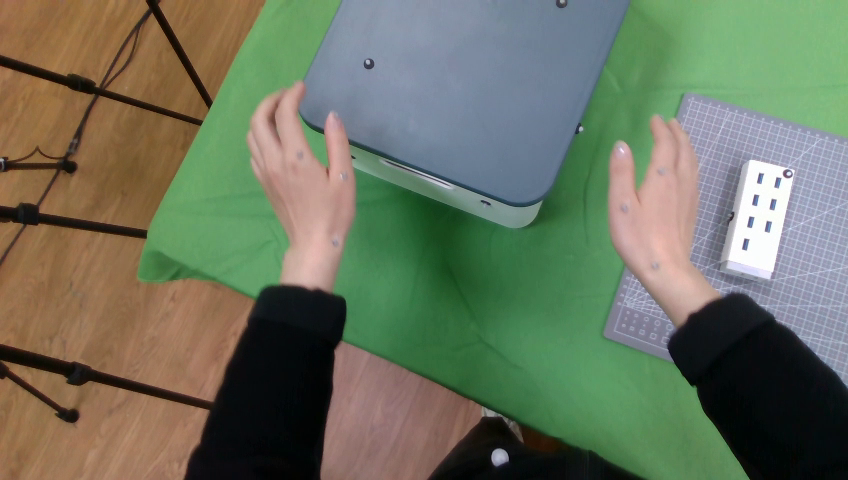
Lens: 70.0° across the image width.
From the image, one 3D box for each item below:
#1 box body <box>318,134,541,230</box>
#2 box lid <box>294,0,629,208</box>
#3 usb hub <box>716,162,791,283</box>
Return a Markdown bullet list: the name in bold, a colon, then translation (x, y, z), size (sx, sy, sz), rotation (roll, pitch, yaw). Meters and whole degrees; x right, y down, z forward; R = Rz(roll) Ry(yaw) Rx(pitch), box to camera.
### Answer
- **box body**: translation (0.065, -0.218, 0.659), size (0.253, 0.161, 0.363), rotation (22, 82, 10)
- **box lid**: translation (0.055, -0.232, 0.587), size (0.262, 0.015, 0.370), rotation (22, 82, 10)
- **usb hub**: translation (0.356, -0.019, 0.654), size (0.049, 0.025, 0.125), rotation (16, 81, 9)
